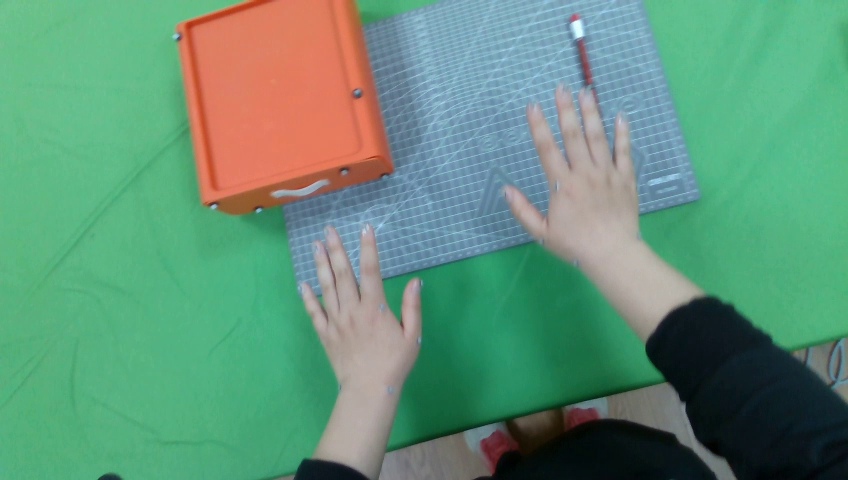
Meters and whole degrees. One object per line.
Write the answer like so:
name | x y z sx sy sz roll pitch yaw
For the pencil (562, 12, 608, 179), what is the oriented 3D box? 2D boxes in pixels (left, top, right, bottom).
pencil | 0.178 -0.160 0.665 0.012 0.012 0.193 -13 83 7

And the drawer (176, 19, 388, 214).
drawer | -0.160 -0.153 0.680 0.194 0.073 0.211 -15 80 8

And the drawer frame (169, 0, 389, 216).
drawer frame | -0.162 -0.155 0.679 0.201 0.083 0.212 -16 80 8
